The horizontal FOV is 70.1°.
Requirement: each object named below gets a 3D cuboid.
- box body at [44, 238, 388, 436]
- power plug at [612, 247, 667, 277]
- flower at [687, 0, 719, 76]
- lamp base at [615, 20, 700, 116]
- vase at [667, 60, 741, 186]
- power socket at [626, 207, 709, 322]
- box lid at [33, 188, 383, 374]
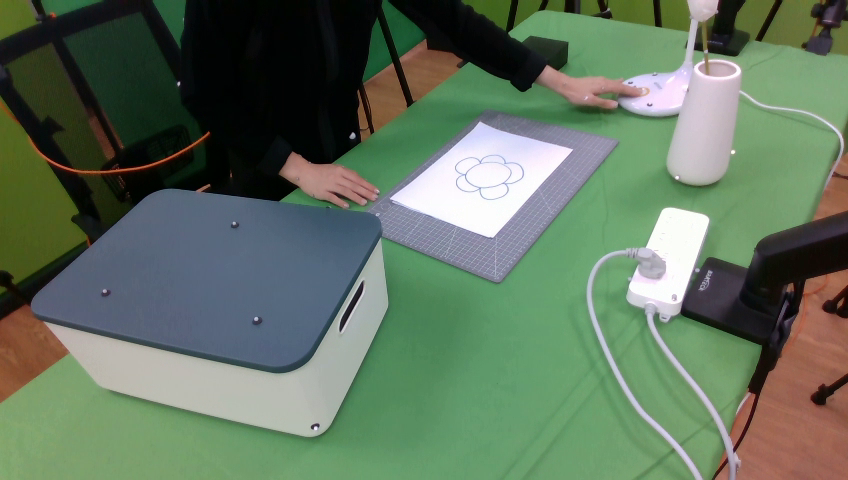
[{"bbox_3d":[-0.251,0.088,0.800,0.362,0.161,0.254,7,42,16],"label":"box body"},{"bbox_3d":[0.306,0.031,0.852,0.072,0.053,0.035,21,48,38],"label":"power plug"},{"bbox_3d":[0.436,-0.241,0.934,0.038,0.364,0.043,-24,49,8],"label":"flower"},{"bbox_3d":[0.484,-0.364,1.211,0.180,0.181,0.159,-15,41,-14],"label":"lamp base"},{"bbox_3d":[0.463,-0.189,0.994,0.098,0.201,0.097,-4,40,4],"label":"vase"},{"bbox_3d":[0.360,0.026,0.886,0.072,0.033,0.227,17,46,27],"label":"power socket"},{"bbox_3d":[-0.257,0.032,0.751,0.370,0.015,0.263,8,42,16],"label":"box lid"}]
